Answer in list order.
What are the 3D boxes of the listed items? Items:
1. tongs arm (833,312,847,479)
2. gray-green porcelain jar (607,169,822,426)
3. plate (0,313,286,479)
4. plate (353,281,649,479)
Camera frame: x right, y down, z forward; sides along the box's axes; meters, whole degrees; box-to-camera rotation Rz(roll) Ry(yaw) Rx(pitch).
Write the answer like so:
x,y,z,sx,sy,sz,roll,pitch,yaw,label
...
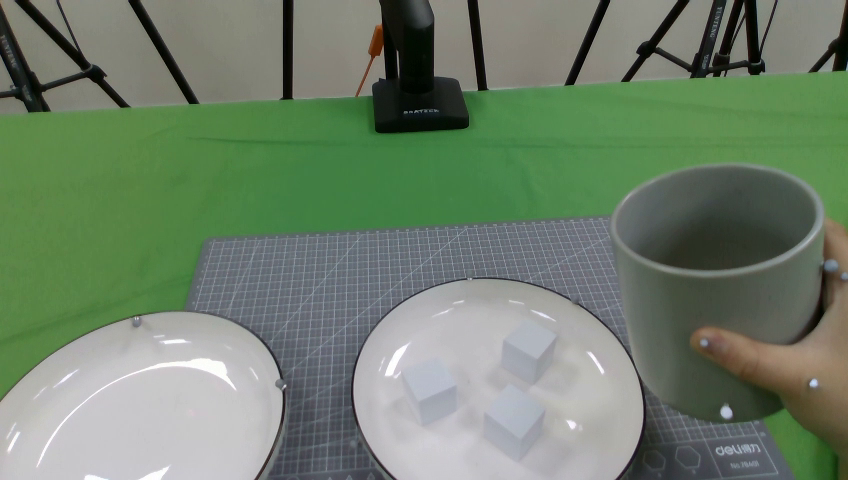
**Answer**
x,y,z,sx,sy,sz,roll,pitch,yaw,label
0.376,0.065,0.511,0.028,0.028,0.386,24,47,21,tongs arm
0.172,0.038,0.360,0.106,0.128,0.105,-15,32,10,gray-green porcelain jar
-0.198,0.138,0.418,0.209,0.038,0.207,-1,41,1,plate
0.053,0.115,0.444,0.208,0.039,0.205,0,41,0,plate
